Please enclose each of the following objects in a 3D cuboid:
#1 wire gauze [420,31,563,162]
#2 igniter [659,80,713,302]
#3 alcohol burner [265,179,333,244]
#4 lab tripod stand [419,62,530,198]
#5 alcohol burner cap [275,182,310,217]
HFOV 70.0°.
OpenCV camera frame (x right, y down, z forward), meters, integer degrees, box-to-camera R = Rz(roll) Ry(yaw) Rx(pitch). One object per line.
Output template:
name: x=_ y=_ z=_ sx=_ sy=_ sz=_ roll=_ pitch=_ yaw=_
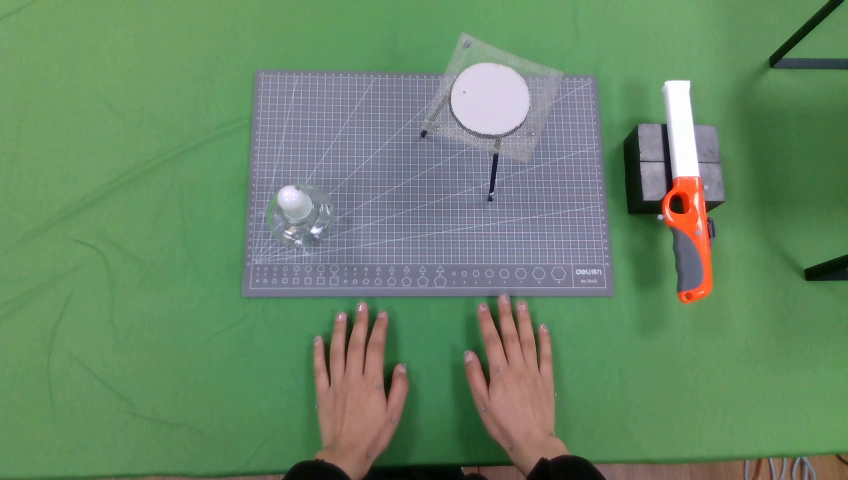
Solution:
wire gauze: x=0.074 y=-0.154 z=0.650 sx=0.121 sy=0.011 sz=0.124 roll=22 pitch=75 yaw=2
igniter: x=0.308 y=-0.063 z=0.721 sx=0.057 sy=0.025 sz=0.275 roll=0 pitch=75 yaw=3
alcohol burner: x=-0.144 y=-0.037 z=0.688 sx=0.078 sy=0.119 sz=0.077 roll=1 pitch=77 yaw=-4
lab tripod stand: x=0.069 y=-0.140 z=0.716 sx=0.148 sy=0.132 sz=0.147 roll=1 pitch=74 yaw=-3
alcohol burner cap: x=-0.144 y=-0.046 z=0.653 sx=0.034 sy=0.048 sz=0.033 roll=0 pitch=78 yaw=0
